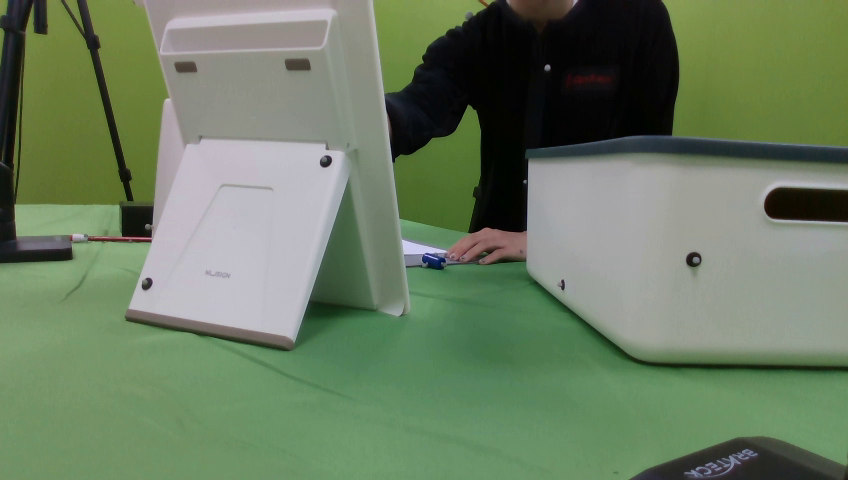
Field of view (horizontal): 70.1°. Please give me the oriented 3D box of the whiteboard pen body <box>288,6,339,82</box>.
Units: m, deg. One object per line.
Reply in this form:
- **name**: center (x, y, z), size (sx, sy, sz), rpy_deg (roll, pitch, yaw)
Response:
- **whiteboard pen body**: center (-0.100, -0.177, 0.544), size (0.017, 0.017, 0.140), rpy_deg (4, 43, 8)

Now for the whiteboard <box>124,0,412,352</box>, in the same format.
- **whiteboard**: center (-0.151, -0.049, 0.471), size (0.216, 0.305, 0.144), rpy_deg (6, 27, 24)

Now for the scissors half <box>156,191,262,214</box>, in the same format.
- **scissors half**: center (-0.371, -0.068, 1.051), size (0.176, 0.040, 0.013), rpy_deg (2, 25, -24)

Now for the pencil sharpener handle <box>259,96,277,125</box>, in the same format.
- **pencil sharpener handle**: center (-0.373, -0.304, 1.425), size (0.036, 0.067, 0.030), rpy_deg (13, -1, -37)

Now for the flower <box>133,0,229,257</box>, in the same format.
- **flower**: center (-0.282, -0.146, 0.712), size (0.038, 0.362, 0.044), rpy_deg (-23, 23, -31)

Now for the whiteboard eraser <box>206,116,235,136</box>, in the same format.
- **whiteboard eraser**: center (-0.449, -0.251, 1.335), size (0.056, 0.042, 0.112), rpy_deg (1, 7, -22)

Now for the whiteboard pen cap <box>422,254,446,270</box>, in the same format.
- **whiteboard pen cap**: center (0.013, 0.028, 0.807), size (0.018, 0.018, 0.033), rpy_deg (-4, 14, -41)

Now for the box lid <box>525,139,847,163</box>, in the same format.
- **box lid**: center (0.261, -0.078, 0.580), size (0.264, 0.015, 0.371), rpy_deg (2, 7, -4)

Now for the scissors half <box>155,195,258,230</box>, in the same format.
- **scissors half**: center (-0.378, -0.051, 1.058), size (0.176, 0.040, 0.012), rpy_deg (20, 22, -31)

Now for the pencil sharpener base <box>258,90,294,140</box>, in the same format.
- **pencil sharpener base**: center (-0.341, -0.285, 1.388), size (0.062, 0.107, 0.076), rpy_deg (-3, 9, -36)

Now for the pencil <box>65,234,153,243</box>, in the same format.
- **pencil**: center (-0.429, 0.000, 0.910), size (0.195, 0.012, 0.012), rpy_deg (2, 7, -19)

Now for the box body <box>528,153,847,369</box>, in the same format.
- **box body**: center (0.258, -0.005, 0.591), size (0.254, 0.160, 0.363), rpy_deg (2, 7, -4)

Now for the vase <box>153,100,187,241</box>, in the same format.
- **vase**: center (-0.278, -0.066, 0.736), size (0.098, 0.200, 0.098), rpy_deg (2, 9, 0)
